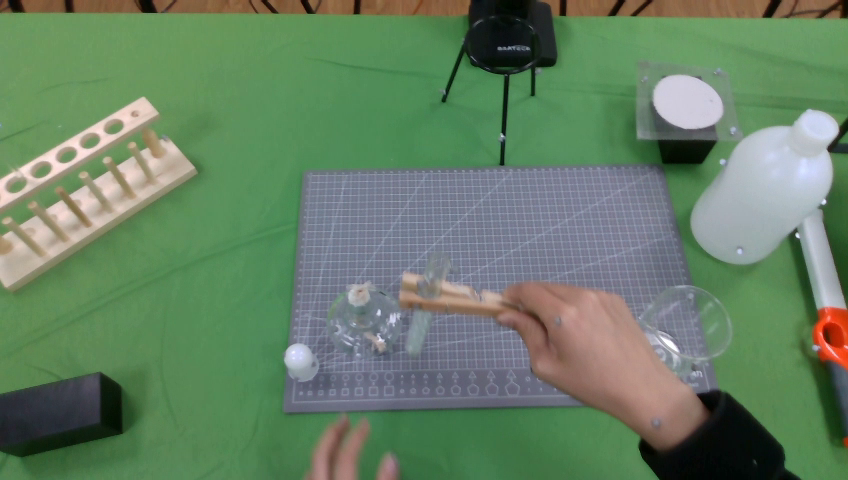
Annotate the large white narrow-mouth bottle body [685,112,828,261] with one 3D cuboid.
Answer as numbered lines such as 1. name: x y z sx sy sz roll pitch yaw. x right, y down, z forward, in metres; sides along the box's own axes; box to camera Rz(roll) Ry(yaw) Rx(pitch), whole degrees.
1. large white narrow-mouth bottle body: 0.358 -0.061 0.640 0.102 0.196 0.101 0 61 0

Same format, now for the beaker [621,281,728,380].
1. beaker: 0.242 0.095 0.606 0.084 0.101 0.073 4 62 3

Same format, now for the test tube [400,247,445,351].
1. test tube: -0.003 0.051 0.467 0.017 0.151 0.017 5 56 -7

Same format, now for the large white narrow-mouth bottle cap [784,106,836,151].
1. large white narrow-mouth bottle cap: 0.358 -0.104 0.564 0.038 0.024 0.037 0 62 0

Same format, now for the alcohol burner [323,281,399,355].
1. alcohol burner: -0.064 0.071 0.606 0.078 0.120 0.077 1 61 -2

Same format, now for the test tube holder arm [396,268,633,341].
1. test tube holder arm: 0.067 0.048 0.448 0.178 0.015 0.013 13 56 0

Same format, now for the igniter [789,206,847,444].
1. igniter: 0.440 0.081 0.660 0.057 0.025 0.274 8 62 -8

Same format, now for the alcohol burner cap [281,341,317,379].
1. alcohol burner cap: -0.129 0.121 0.620 0.034 0.048 0.033 0 63 1

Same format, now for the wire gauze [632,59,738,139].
1. wire gauze: 0.318 -0.174 0.749 0.121 0.011 0.124 6 62 2

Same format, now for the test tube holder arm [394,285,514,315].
1. test tube holder arm: 0.022 0.044 0.444 0.088 0.015 0.010 6 56 -5

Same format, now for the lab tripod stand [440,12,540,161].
1. lab tripod stand: 0.089 -0.193 0.741 0.148 0.132 0.147 1 63 -2

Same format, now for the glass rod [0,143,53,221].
1. glass rod: -0.428 -0.080 0.625 0.008 0.201 0.008 2 53 -3

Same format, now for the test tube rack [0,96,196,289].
1. test tube rack: -0.394 -0.056 0.687 0.242 0.086 0.066 -38 69 -19
